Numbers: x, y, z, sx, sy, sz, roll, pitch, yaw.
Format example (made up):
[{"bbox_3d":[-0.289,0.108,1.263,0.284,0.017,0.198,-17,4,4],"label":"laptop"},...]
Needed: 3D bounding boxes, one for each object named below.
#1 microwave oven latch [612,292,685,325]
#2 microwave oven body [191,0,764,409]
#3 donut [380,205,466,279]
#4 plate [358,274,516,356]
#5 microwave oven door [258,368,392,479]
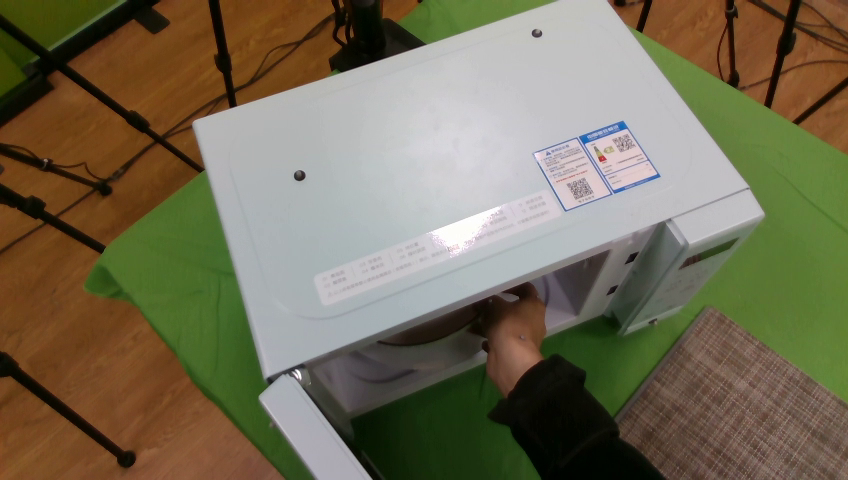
[{"bbox_3d":[0.261,0.070,0.706,0.079,0.030,0.030,-21,65,-7],"label":"microwave oven latch"},{"bbox_3d":[0.037,-0.032,0.658,0.442,0.262,0.323,-21,65,-7],"label":"microwave oven body"},{"bbox_3d":[-0.001,0.002,0.691,0.099,0.048,0.098,5,50,-5],"label":"donut"},{"bbox_3d":[-0.001,0.035,0.675,0.209,0.038,0.207,-3,59,5],"label":"plate"},{"bbox_3d":[0.004,0.271,0.504,0.039,0.246,0.353,-39,68,-15],"label":"microwave oven door"}]
